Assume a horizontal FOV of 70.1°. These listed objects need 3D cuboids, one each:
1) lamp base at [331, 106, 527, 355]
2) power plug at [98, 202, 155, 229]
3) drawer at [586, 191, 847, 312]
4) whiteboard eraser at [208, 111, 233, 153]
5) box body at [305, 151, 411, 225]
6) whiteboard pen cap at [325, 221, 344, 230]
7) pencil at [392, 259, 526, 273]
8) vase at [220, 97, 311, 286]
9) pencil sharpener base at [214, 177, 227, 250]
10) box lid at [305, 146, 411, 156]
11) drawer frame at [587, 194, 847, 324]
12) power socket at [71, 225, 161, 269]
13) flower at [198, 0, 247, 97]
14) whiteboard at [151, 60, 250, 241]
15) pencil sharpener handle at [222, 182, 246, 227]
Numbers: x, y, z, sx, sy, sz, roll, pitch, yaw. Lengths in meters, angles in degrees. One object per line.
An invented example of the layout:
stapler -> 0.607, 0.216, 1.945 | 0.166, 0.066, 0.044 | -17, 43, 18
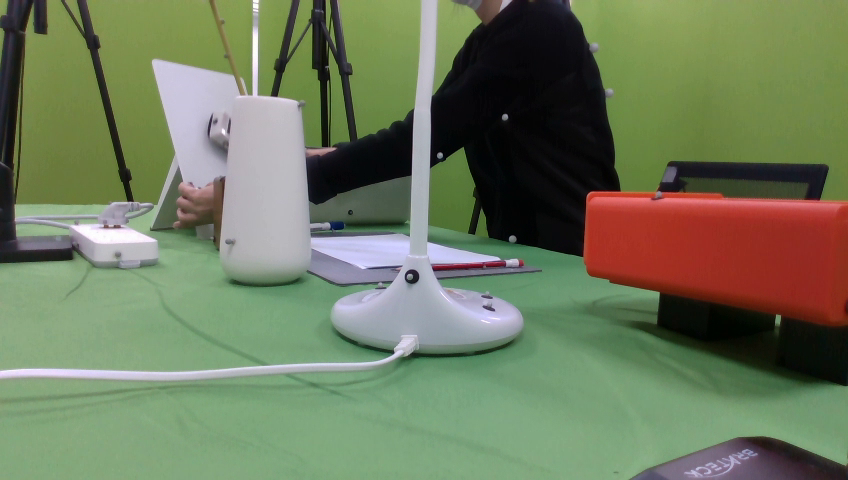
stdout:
lamp base -> 0.006, -0.012, 0.478 | 0.161, 0.180, 0.179 | 2, 10, 2
power plug -> -0.416, -0.026, 0.848 | 0.073, 0.052, 0.035 | 0, 8, -28
drawer -> 0.281, 0.001, 0.513 | 0.195, 0.073, 0.210 | -1, 8, -29
whiteboard eraser -> -0.331, -0.176, 1.072 | 0.041, 0.055, 0.113 | -16, -28, 24
box body -> -0.230, -0.126, 1.371 | 0.366, 0.160, 0.253 | -2, 9, -33
whiteboard pen cap -> -0.166, -0.027, 1.124 | 0.018, 0.018, 0.033 | 9, 11, 40
pencil -> 0.049, 0.035, 0.782 | 0.195, 0.012, 0.012 | -2, 9, -25
vase -> -0.172, -0.052, 0.662 | 0.098, 0.200, 0.098 | 3, 8, 0
pencil sharpener base -> -0.265, -0.036, 0.870 | 0.061, 0.107, 0.076 | -2, 8, -29
box lid -> -0.229, -0.200, 1.360 | 0.373, 0.015, 0.262 | -3, 9, -33
drawer frame -> 0.285, 0.004, 0.508 | 0.203, 0.082, 0.212 | -1, 6, -29
power socket -> -0.408, 0.004, 0.793 | 0.072, 0.032, 0.225 | -2, 8, -38
flower -> -0.187, -0.133, 0.648 | 0.038, 0.362, 0.044 | -1, 21, 43
whiteboard -> -0.408, -0.139, 1.093 | 0.143, 0.305, 0.218 | -15, -1, 26
pencil sharpener handle -> -0.289, -0.055, 0.912 | 0.036, 0.067, 0.030 | -2, 8, -29
